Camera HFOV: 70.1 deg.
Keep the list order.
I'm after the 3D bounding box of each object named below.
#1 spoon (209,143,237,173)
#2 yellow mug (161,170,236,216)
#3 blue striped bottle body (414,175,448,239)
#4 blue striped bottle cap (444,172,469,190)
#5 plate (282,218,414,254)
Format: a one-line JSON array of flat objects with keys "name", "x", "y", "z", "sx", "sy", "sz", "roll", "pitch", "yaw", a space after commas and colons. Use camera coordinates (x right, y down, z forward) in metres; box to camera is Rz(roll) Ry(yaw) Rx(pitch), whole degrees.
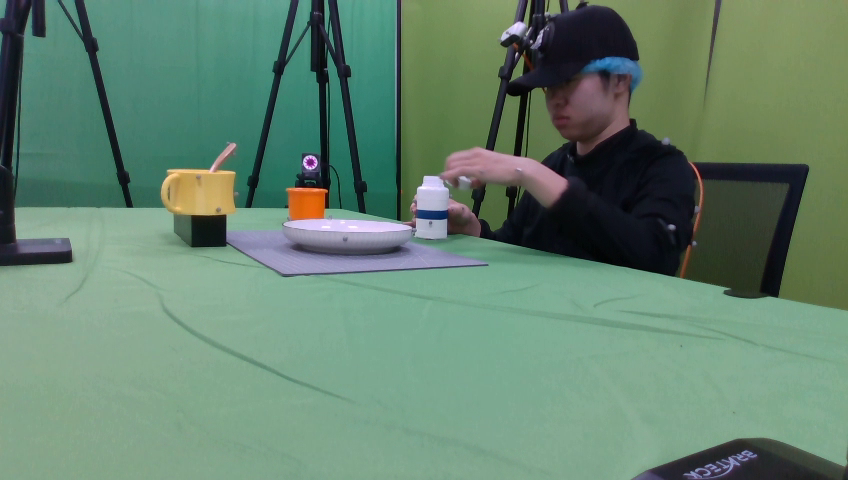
[{"name": "spoon", "x": -0.341, "y": -0.113, "z": 0.990, "sx": 0.041, "sy": 0.021, "sz": 0.193, "roll": 1, "pitch": 40, "yaw": 6}, {"name": "yellow mug", "x": -0.354, "y": -0.074, "z": 0.935, "sx": 0.099, "sy": 0.064, "sz": 0.131, "roll": 5, "pitch": 10, "yaw": 21}, {"name": "blue striped bottle body", "x": 0.014, "y": -0.065, "z": 1.166, "sx": 0.063, "sy": 0.120, "sz": 0.063, "roll": 2, "pitch": 8, "yaw": 0}, {"name": "blue striped bottle cap", "x": 0.059, "y": -0.106, "z": 1.087, "sx": 0.044, "sy": 0.020, "sz": 0.044, "roll": 18, "pitch": 18, "yaw": -6}, {"name": "plate", "x": -0.121, "y": -0.007, "z": 0.971, "sx": 0.208, "sy": 0.039, "sz": 0.207, "roll": 2, "pitch": 7, "yaw": 0}]
